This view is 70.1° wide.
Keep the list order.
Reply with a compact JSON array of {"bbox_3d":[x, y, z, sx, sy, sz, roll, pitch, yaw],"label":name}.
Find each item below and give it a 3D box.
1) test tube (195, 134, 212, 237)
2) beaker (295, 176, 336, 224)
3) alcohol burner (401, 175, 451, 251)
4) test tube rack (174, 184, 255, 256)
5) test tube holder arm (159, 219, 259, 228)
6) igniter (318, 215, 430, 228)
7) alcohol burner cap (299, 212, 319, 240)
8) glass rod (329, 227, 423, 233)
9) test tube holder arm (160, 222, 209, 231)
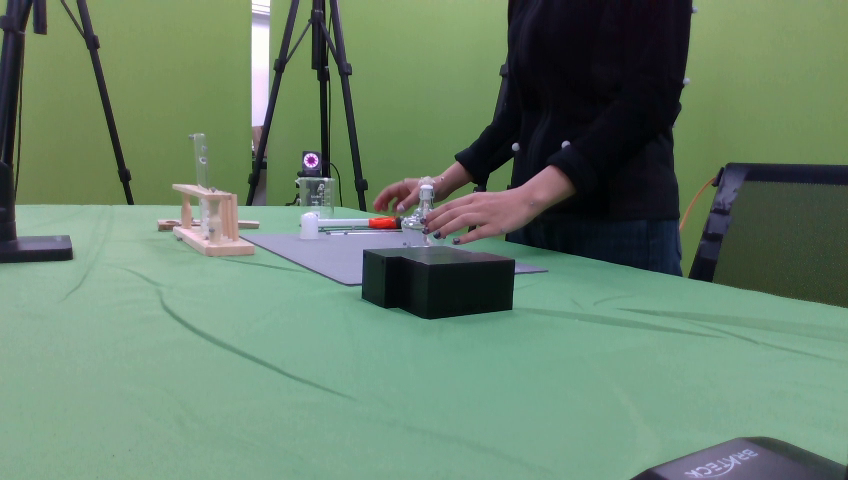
[{"bbox_3d":[-0.320,-0.079,0.880,0.017,0.150,0.017,-3,3,1],"label":"test tube"},{"bbox_3d":[-0.224,-0.080,1.247,0.084,0.100,0.073,-1,8,-18],"label":"beaker"},{"bbox_3d":[0.003,-0.042,0.947,0.078,0.119,0.078,1,9,0],"label":"alcohol burner"},{"bbox_3d":[-0.327,-0.036,0.928,0.067,0.085,0.241,-2,9,-32],"label":"test tube rack"},{"bbox_3d":[-0.390,-0.030,1.107,0.179,0.015,0.013,-3,44,-39],"label":"test tube holder arm"},{"bbox_3d":[-0.108,-0.037,1.228,0.278,0.025,0.057,-2,-1,-35],"label":"igniter"},{"bbox_3d":[-0.195,-0.025,1.025,0.034,0.048,0.034,3,7,0],"label":"alcohol burner cap"},{"bbox_3d":[-0.087,-0.019,1.148,0.201,0.008,0.008,-2,8,-32],"label":"glass rod"},{"bbox_3d":[-0.423,-0.024,1.075,0.088,0.015,0.010,-3,44,-38],"label":"test tube holder arm"}]
